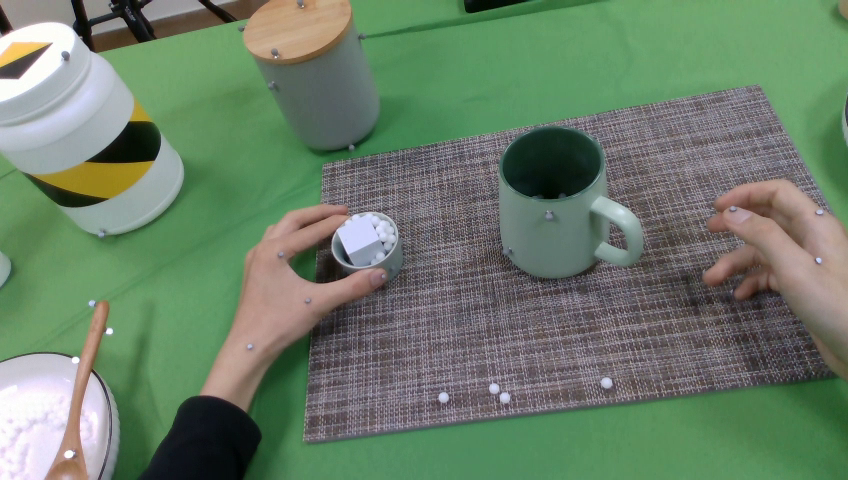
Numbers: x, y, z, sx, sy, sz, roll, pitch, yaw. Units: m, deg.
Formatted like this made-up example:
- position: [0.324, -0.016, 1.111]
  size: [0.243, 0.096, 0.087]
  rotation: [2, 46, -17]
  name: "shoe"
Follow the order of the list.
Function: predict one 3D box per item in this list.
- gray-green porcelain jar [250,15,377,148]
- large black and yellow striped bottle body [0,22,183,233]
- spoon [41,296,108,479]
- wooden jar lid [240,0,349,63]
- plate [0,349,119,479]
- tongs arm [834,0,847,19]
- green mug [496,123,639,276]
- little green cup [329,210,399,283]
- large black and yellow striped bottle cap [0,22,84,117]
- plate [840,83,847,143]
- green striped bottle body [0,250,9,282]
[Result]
- position: [-0.111, -0.169, 0.636]
  size: [0.106, 0.128, 0.105]
  rotation: [-6, 54, 9]
  name: "gray-green porcelain jar"
- position: [-0.348, -0.108, 0.611]
  size: [0.130, 0.186, 0.129]
  rotation: [-6, 54, 9]
  name: "large black and yellow striped bottle body"
- position: [-0.284, 0.132, 0.498]
  size: [0.041, 0.022, 0.192]
  rotation: [-7, 62, 7]
  name: "spoon"
- position: [-0.123, -0.205, 0.587]
  size: [0.108, 0.021, 0.107]
  rotation: [-6, 57, 9]
  name: "wooden jar lid"
- position: [-0.341, 0.189, 0.490]
  size: [0.209, 0.038, 0.207]
  rotation: [-6, 54, 9]
  name: "plate"
- position: [0.578, -0.176, 0.539]
  size: [0.384, 0.028, 0.028]
  rotation: [25, 73, 28]
  name: "tongs arm"
- position: [0.116, -0.023, 0.488]
  size: [0.124, 0.106, 0.092]
  rotation: [32, 67, 30]
  name: "green mug"
- position: [-0.052, 0.007, 0.546]
  size: [0.061, 0.039, 0.061]
  rotation: [-5, 54, 8]
  name: "little green cup"
- position: [-0.365, -0.154, 0.543]
  size: [0.115, 0.019, 0.114]
  rotation: [-6, 53, 9]
  name: "large black and yellow striped bottle cap"
- position: [0.461, -0.091, 0.501]
  size: [0.207, 0.039, 0.205]
  rotation: [-6, 54, 9]
  name: "plate"
- position: [-0.486, 0.005, 0.603]
  size: [0.063, 0.120, 0.062]
  rotation: [-6, 54, 9]
  name: "green striped bottle body"
